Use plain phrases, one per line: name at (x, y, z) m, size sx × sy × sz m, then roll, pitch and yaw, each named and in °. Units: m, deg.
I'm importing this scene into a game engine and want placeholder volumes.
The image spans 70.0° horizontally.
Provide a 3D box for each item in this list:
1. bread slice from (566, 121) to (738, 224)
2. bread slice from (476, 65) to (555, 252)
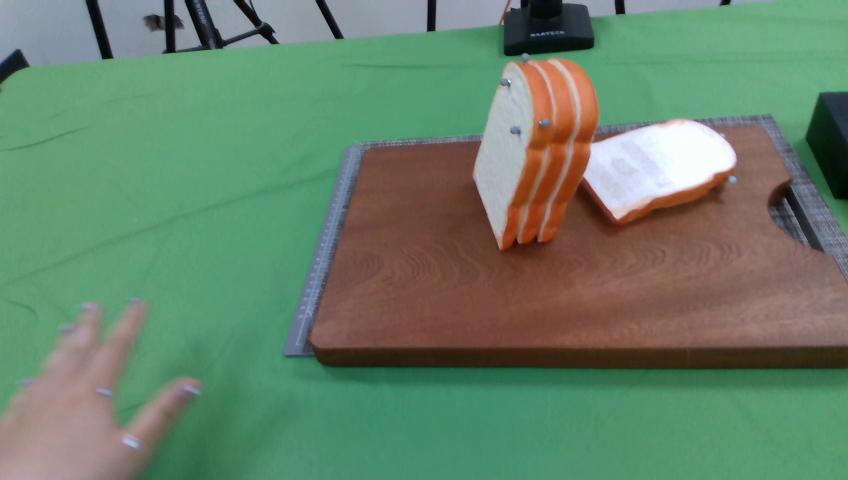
bread slice at (0.209, -0.065, 0.545) m, size 0.131 × 0.019 × 0.103 m, roll -18°, pitch 41°, yaw -2°
bread slice at (0.075, -0.075, 0.508) m, size 0.018 × 0.135 × 0.106 m, roll 0°, pitch 40°, yaw -13°
